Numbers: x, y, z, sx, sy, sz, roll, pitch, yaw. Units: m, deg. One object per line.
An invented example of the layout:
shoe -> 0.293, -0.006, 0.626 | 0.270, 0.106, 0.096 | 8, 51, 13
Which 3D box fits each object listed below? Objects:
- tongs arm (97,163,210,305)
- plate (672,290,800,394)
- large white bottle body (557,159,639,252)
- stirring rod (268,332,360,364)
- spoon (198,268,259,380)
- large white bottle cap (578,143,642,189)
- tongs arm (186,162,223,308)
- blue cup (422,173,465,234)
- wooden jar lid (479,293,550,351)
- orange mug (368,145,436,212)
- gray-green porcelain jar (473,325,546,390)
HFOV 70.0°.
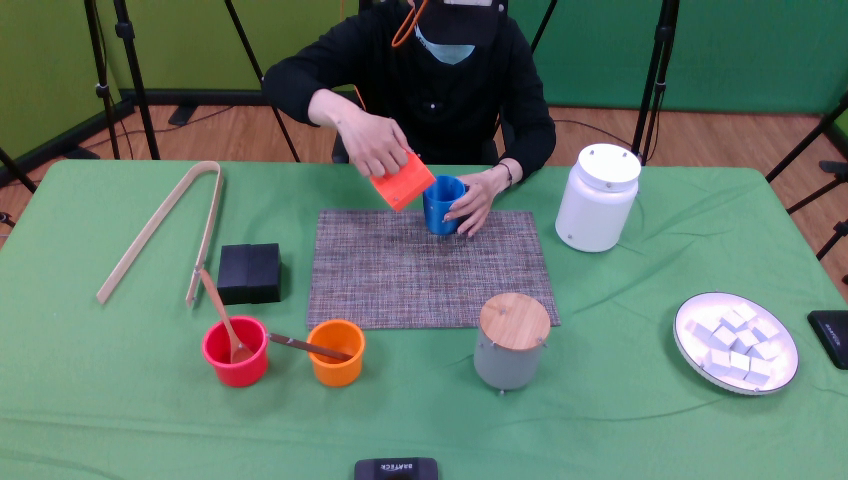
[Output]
tongs arm -> -0.520, -0.027, 1.184 | 0.028, 0.028, 0.385 | 5, 45, 13
plate -> 0.533, 0.179, 1.050 | 0.208, 0.039, 0.206 | 2, 46, -2
large white bottle body -> 0.340, -0.081, 1.184 | 0.131, 0.185, 0.130 | 2, 46, -1
stirring rod -> -0.167, 0.169, 0.941 | 0.177, 0.006, 0.014 | 26, 27, -40
spoon -> -0.313, 0.133, 0.962 | 0.041, 0.021, 0.194 | -24, 96, -21
large white bottle cap -> 0.344, -0.139, 1.123 | 0.115, 0.018, 0.114 | 2, 47, -2
tongs arm -> -0.436, -0.024, 1.181 | 0.051, 0.027, 0.382 | -3, 45, 0
blue cup -> 0.036, -0.066, 1.201 | 0.092, 0.101, 0.092 | 1, 46, -1
wooden jar lid -> 0.137, 0.127, 0.925 | 0.108, 0.021, 0.107 | 1, 47, -1
orange mug -> -0.047, -0.121, 1.121 | 0.101, 0.127, 0.083 | -37, 60, 3
gray-green porcelain jar -> 0.135, 0.170, 0.969 | 0.106, 0.127, 0.105 | 2, 46, -2
